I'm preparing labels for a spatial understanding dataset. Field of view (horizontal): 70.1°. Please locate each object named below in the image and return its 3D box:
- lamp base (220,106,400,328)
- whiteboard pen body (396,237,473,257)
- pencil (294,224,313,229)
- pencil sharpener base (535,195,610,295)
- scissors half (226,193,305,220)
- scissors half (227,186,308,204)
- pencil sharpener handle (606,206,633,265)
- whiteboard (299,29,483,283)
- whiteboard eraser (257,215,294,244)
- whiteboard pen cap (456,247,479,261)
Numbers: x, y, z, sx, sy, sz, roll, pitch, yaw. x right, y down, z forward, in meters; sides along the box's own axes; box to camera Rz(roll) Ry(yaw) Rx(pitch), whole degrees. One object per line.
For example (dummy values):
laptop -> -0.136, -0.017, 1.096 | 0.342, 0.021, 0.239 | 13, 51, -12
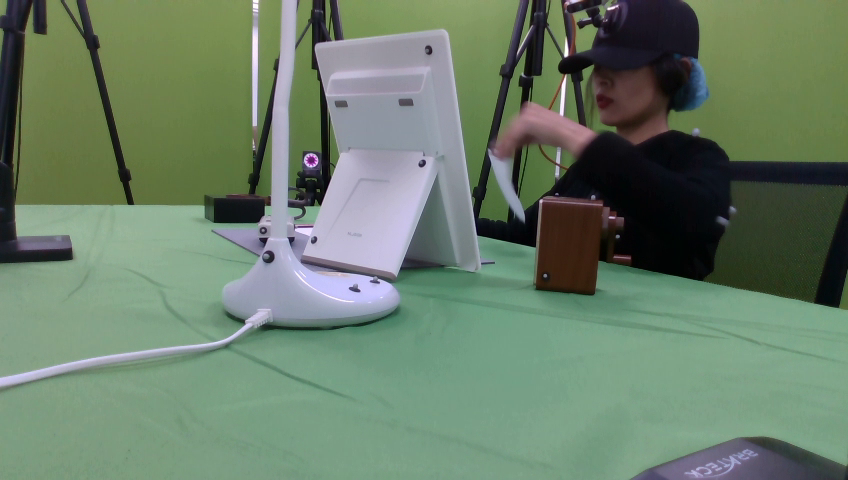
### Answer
lamp base -> -0.101, -0.023, 0.531 | 0.160, 0.180, 0.179 | 4, 10, 10
whiteboard pen body -> 0.014, 0.012, 0.886 | 0.140, 0.017, 0.017 | 9, 10, 38
pencil -> -0.221, -0.028, 1.211 | 0.195, 0.012, 0.012 | -5, 10, -34
pencil sharpener base -> 0.172, 0.005, 0.695 | 0.076, 0.107, 0.061 | 5, 7, 16
scissors half -> -0.341, -0.077, 1.310 | 0.176, 0.040, 0.012 | 17, 12, -33
scissors half -> -0.336, -0.096, 1.305 | 0.176, 0.040, 0.013 | -3, 17, -29
pencil sharpener handle -> 0.223, -0.004, 0.683 | 0.030, 0.068, 0.036 | 5, 20, 17
whiteboard -> -0.074, -0.082, 0.742 | 0.216, 0.305, 0.144 | 9, 30, 38
whiteboard eraser -> -0.232, -0.016, 0.951 | 0.056, 0.042, 0.112 | 1, 7, -12
whiteboard pen cap -> 0.060, 0.020, 0.851 | 0.033, 0.018, 0.018 | 10, 10, 37
